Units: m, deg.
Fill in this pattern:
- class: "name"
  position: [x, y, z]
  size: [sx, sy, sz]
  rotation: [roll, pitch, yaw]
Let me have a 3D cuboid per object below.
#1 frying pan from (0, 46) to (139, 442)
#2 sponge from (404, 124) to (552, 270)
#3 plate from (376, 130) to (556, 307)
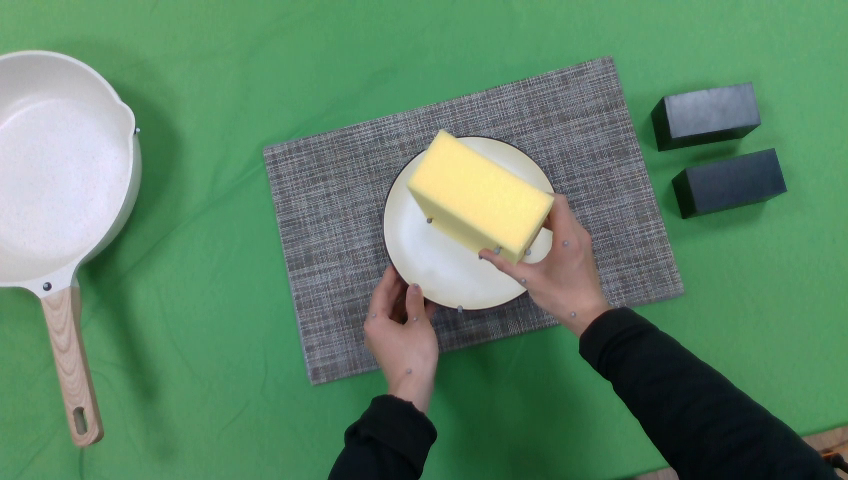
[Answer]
- class: "frying pan"
  position: [-0.451, 0.003, 0.722]
  size: [0.307, 0.103, 0.484]
  rotation: [-22, 73, 3]
- class: "sponge"
  position: [0.056, -0.034, 0.620]
  size: [0.118, 0.207, 0.061]
  rotation: [32, 86, 10]
- class: "plate"
  position: [0.049, -0.024, 0.714]
  size: [0.207, 0.039, 0.207]
  rotation: [-1, 83, 5]
